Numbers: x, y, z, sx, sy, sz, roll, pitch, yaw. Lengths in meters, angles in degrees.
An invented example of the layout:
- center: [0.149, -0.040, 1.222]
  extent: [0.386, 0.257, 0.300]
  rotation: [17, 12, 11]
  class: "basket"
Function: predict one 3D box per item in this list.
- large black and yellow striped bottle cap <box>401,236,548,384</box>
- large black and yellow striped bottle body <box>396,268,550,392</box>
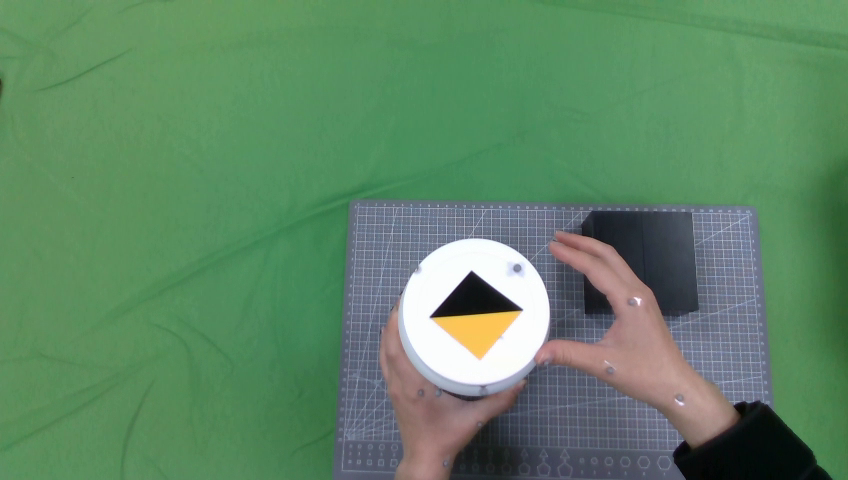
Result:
- center: [0.039, 0.053, 0.472]
  extent: [0.115, 0.019, 0.114]
  rotation: [-1, 78, 3]
  class: "large black and yellow striped bottle cap"
- center: [0.043, 0.073, 0.558]
  extent: [0.131, 0.185, 0.130]
  rotation: [0, 77, 2]
  class: "large black and yellow striped bottle body"
